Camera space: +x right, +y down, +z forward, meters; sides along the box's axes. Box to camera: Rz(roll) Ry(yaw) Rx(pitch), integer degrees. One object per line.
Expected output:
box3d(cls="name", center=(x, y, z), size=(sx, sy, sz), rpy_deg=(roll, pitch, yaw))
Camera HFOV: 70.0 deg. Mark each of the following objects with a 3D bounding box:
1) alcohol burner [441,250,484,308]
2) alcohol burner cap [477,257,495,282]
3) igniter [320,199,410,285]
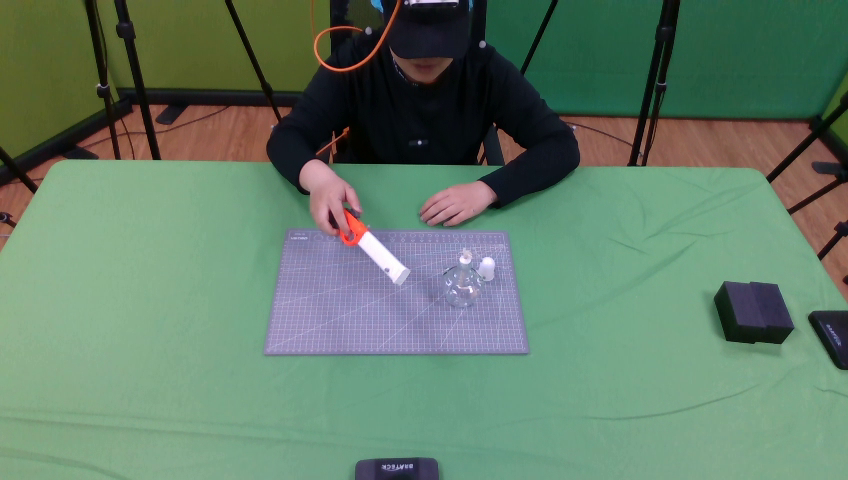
box3d(cls="alcohol burner", center=(0.069, 0.064, 1.075), size=(0.078, 0.120, 0.077), rpy_deg=(1, 45, -1))
box3d(cls="alcohol burner cap", center=(0.118, 0.053, 1.140), size=(0.034, 0.048, 0.033), rpy_deg=(2, 45, -2))
box3d(cls="igniter", center=(-0.111, -0.005, 1.062), size=(0.057, 0.025, 0.274), rpy_deg=(-55, 47, 6))
